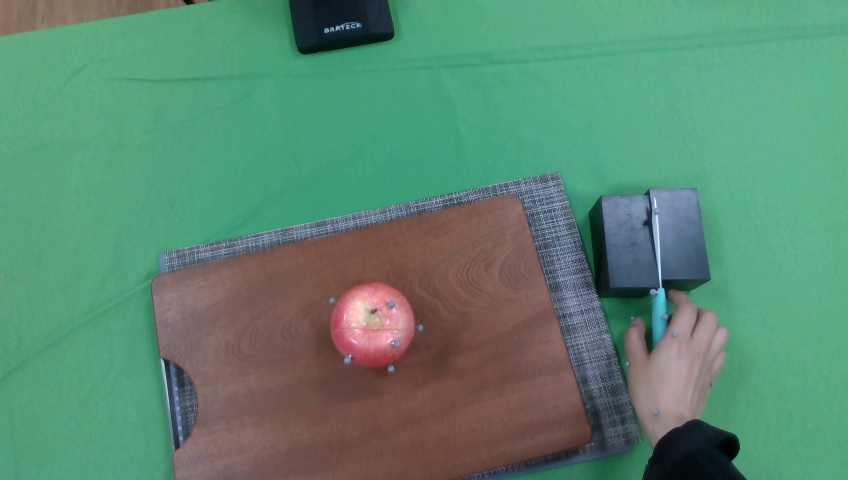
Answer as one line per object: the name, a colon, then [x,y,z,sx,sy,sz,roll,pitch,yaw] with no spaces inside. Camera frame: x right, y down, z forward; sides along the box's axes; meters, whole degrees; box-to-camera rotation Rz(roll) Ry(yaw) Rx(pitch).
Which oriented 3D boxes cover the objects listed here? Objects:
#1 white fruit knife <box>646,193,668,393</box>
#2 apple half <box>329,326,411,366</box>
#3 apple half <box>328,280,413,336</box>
white fruit knife: [0.236,0.055,0.620,0.016,0.027,0.207,-2,88,0]
apple half: [-0.051,0.105,0.575,0.081,0.082,0.032,0,69,0]
apple half: [-0.051,0.067,0.587,0.081,0.075,0.053,-1,69,4]
